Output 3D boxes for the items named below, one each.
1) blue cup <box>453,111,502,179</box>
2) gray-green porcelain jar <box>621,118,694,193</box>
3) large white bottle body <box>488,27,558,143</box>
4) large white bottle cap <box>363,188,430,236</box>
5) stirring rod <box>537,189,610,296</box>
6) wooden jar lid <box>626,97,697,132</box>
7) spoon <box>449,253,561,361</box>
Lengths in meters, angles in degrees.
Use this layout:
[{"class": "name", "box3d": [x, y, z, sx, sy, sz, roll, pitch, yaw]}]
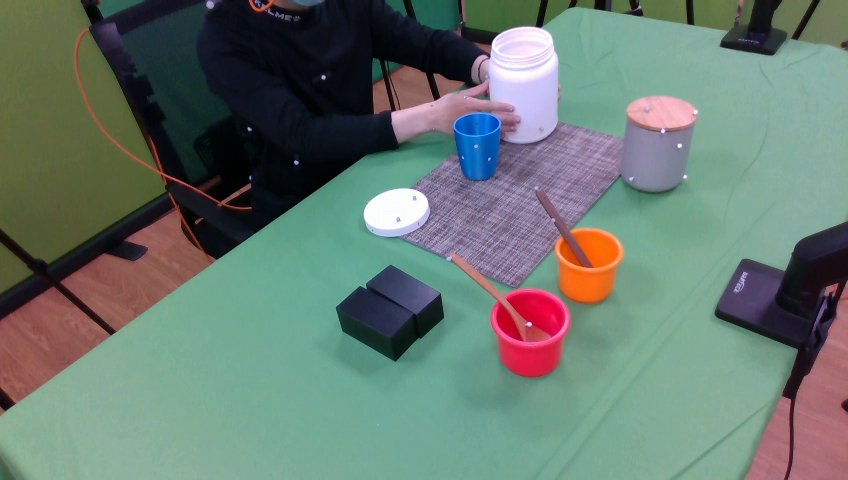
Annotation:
[{"class": "blue cup", "box3d": [0.097, -0.166, 1.088, 0.092, 0.100, 0.092, -3, 41, 3]}, {"class": "gray-green porcelain jar", "box3d": [0.389, -0.152, 1.016, 0.106, 0.127, 0.105, -4, 40, 4]}, {"class": "large white bottle body", "box3d": [0.190, -0.294, 1.149, 0.130, 0.185, 0.130, -6, 46, 6]}, {"class": "large white bottle cap", "box3d": [-0.048, -0.050, 1.040, 0.115, 0.018, 0.114, -7, 41, 6]}, {"class": "stirring rod", "box3d": [0.211, 0.003, 0.855, 0.014, 0.006, 0.176, -32, 88, -30]}, {"class": "wooden jar lid", "box3d": [0.382, -0.198, 0.976, 0.108, 0.021, 0.108, -2, 40, 3]}, {"class": "spoon", "box3d": [0.103, 0.083, 0.770, 0.194, 0.021, 0.042, 47, 52, -7]}]
